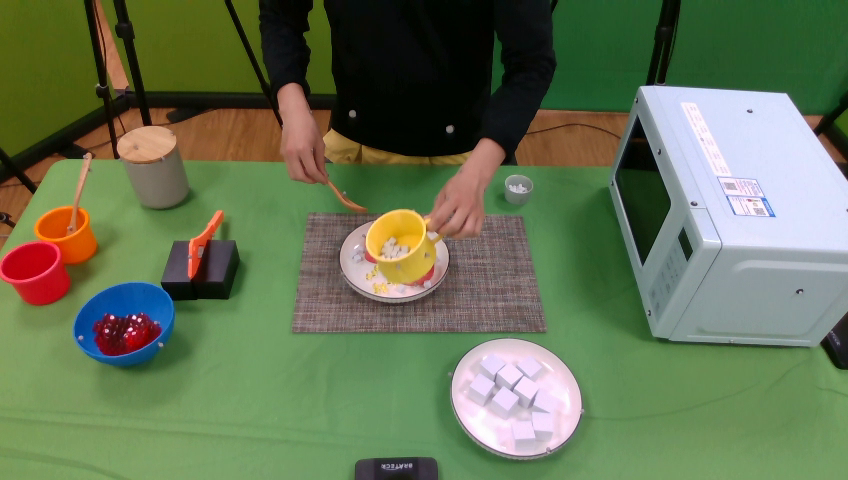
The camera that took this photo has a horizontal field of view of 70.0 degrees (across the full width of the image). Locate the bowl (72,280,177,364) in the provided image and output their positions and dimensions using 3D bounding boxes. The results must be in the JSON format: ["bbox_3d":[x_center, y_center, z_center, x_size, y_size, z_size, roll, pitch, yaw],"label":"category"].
[{"bbox_3d":[-0.472,0.147,0.982,0.151,0.077,0.150,2,46,-2],"label":"bowl"}]

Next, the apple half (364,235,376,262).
[{"bbox_3d":[-0.079,0.005,1.160,0.081,0.033,0.081,3,51,-4],"label":"apple half"}]

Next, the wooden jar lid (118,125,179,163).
[{"bbox_3d":[-0.528,-0.181,1.167,0.108,0.021,0.107,4,48,-4],"label":"wooden jar lid"}]

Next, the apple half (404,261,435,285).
[{"bbox_3d":[-0.017,0.037,1.121,0.075,0.053,0.080,1,46,-7],"label":"apple half"}]

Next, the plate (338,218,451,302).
[{"bbox_3d":[-0.054,0.038,1.138,0.209,0.038,0.208,2,46,-2],"label":"plate"}]

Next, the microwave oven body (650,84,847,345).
[{"bbox_3d":[0.569,-0.054,1.116,0.326,0.261,0.439,2,46,-1],"label":"microwave oven body"}]

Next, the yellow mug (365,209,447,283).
[{"bbox_3d":[-0.023,0.003,0.962,0.131,0.064,0.099,-27,51,-3],"label":"yellow mug"}]

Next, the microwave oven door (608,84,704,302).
[{"bbox_3d":[0.425,-0.096,1.138,0.039,0.245,0.353,2,47,-1],"label":"microwave oven door"}]

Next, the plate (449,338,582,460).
[{"bbox_3d":[0.141,0.250,0.956,0.208,0.039,0.206,2,47,-2],"label":"plate"}]

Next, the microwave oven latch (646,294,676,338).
[{"bbox_3d":[0.412,0.133,1.061,0.030,0.029,0.078,3,46,0],"label":"microwave oven latch"}]

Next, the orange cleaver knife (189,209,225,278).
[{"bbox_3d":[-0.400,0.002,1.122,0.012,0.077,0.210,4,23,-4],"label":"orange cleaver knife"}]

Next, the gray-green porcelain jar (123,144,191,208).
[{"bbox_3d":[-0.530,-0.136,1.213,0.106,0.127,0.105,2,46,-2],"label":"gray-green porcelain jar"}]

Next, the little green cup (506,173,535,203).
[{"bbox_3d":[0.205,-0.111,1.302,0.061,0.039,0.061,1,46,-1],"label":"little green cup"}]

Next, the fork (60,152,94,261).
[{"bbox_3d":[-0.638,-0.063,1.119,0.028,0.018,0.207,12,90,9],"label":"fork"}]

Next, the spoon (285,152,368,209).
[{"bbox_3d":[-0.181,-0.110,1.112,0.193,0.042,0.021,38,91,13],"label":"spoon"}]
